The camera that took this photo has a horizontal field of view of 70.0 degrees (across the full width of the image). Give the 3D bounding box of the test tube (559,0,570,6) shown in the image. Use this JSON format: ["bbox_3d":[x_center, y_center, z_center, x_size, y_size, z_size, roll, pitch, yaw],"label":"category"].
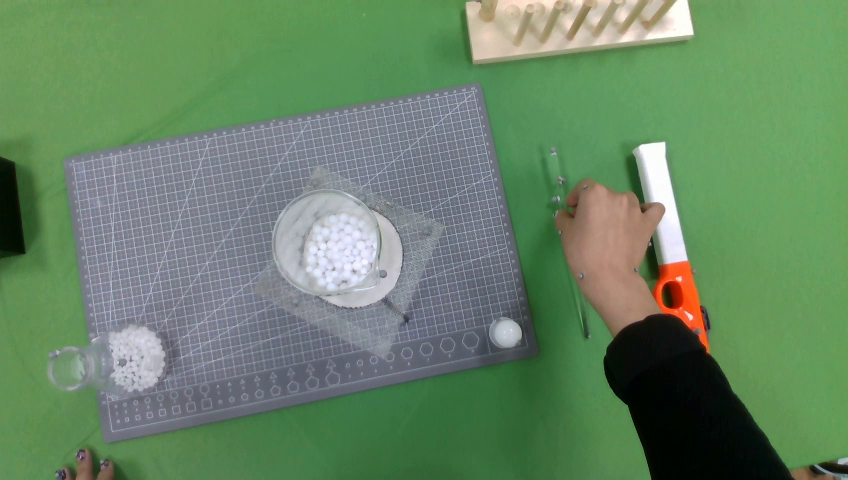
[{"bbox_3d":[0.148,-0.267,0.581,0.017,0.150,0.017,0,84,1],"label":"test tube"}]

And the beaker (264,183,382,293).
[{"bbox_3d":[-0.067,0.006,0.456,0.084,0.100,0.074,40,85,3],"label":"beaker"}]

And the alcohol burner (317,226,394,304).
[{"bbox_3d":[-0.066,0.023,0.579,0.078,0.119,0.077,0,85,0],"label":"alcohol burner"}]

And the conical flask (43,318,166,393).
[{"bbox_3d":[-0.296,0.110,0.559,0.075,0.122,0.075,0,84,-2],"label":"conical flask"}]

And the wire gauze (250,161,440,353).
[{"bbox_3d":[-0.065,0.013,0.504,0.125,0.011,0.121,26,87,0],"label":"wire gauze"}]

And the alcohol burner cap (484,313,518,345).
[{"bbox_3d":[0.080,0.089,0.612,0.034,0.048,0.033,1,81,-3],"label":"alcohol burner cap"}]

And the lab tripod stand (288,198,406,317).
[{"bbox_3d":[-0.068,0.019,0.569,0.148,0.131,0.148,0,86,0],"label":"lab tripod stand"}]

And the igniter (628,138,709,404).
[{"bbox_3d":[0.255,0.030,0.633,0.057,0.025,0.276,-8,84,-13],"label":"igniter"}]

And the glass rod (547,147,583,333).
[{"bbox_3d":[0.149,0.000,0.639,0.008,0.008,0.199,-9,89,-3],"label":"glass rod"}]

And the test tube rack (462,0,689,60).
[{"bbox_3d":[0.166,-0.249,0.629,0.242,0.085,0.066,-7,84,-2],"label":"test tube rack"}]
